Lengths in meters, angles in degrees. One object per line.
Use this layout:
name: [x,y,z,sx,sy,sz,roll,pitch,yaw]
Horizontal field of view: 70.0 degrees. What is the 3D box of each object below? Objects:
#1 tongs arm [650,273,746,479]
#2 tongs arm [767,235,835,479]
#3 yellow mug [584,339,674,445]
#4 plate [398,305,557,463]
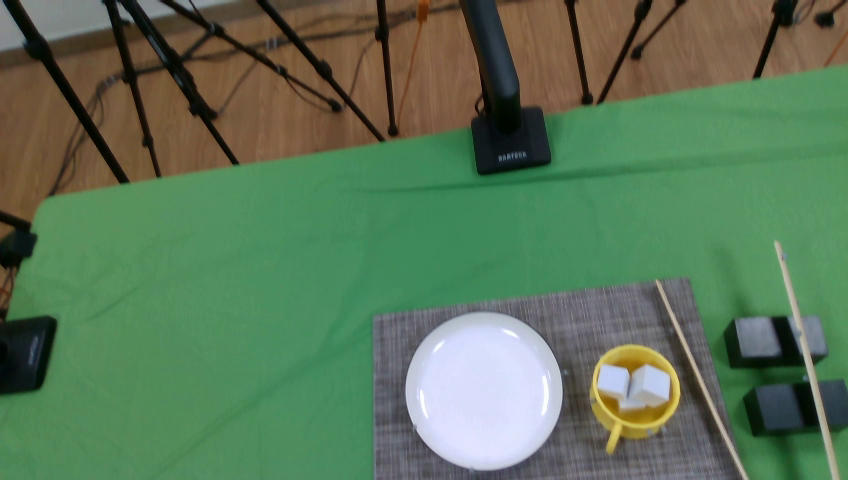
tongs arm: [0.360,0.208,0.738,0.028,0.028,0.383,-28,58,21]
tongs arm: [0.426,0.179,0.698,0.050,0.027,0.382,-17,64,30]
yellow mug: [0.245,0.193,0.748,0.099,0.064,0.130,22,70,20]
plate: [0.071,0.189,0.801,0.207,0.039,0.206,-4,62,9]
